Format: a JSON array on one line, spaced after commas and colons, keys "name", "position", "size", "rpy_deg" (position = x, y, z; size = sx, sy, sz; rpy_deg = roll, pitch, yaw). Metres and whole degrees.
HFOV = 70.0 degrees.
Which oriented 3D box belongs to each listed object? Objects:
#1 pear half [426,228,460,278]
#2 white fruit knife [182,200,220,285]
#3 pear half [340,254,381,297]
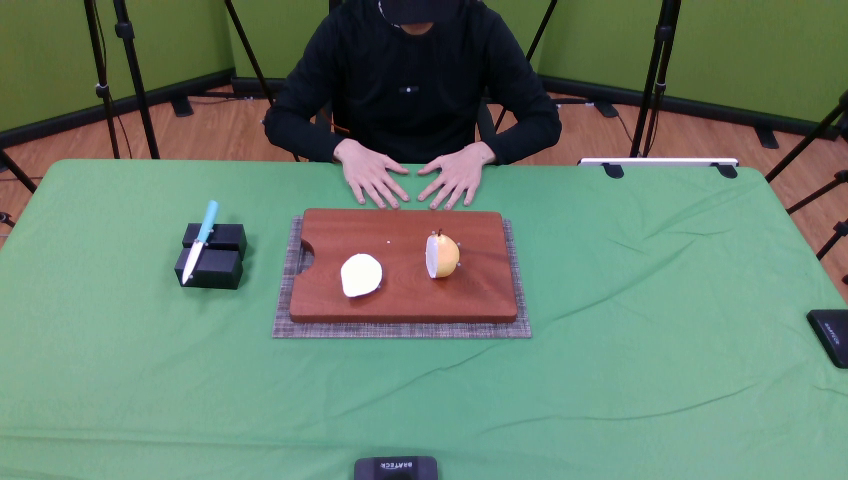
[{"name": "pear half", "position": [0.037, 0.016, 1.082], "size": [0.056, 0.110, 0.076], "rpy_deg": [-13, 52, -15]}, {"name": "white fruit knife", "position": [-0.406, 0.001, 1.103], "size": [0.027, 0.016, 0.206], "rpy_deg": [-12, 47, 16]}, {"name": "pear half", "position": [-0.116, 0.068, 1.074], "size": [0.070, 0.031, 0.088], "rpy_deg": [31, 64, 5]}]
